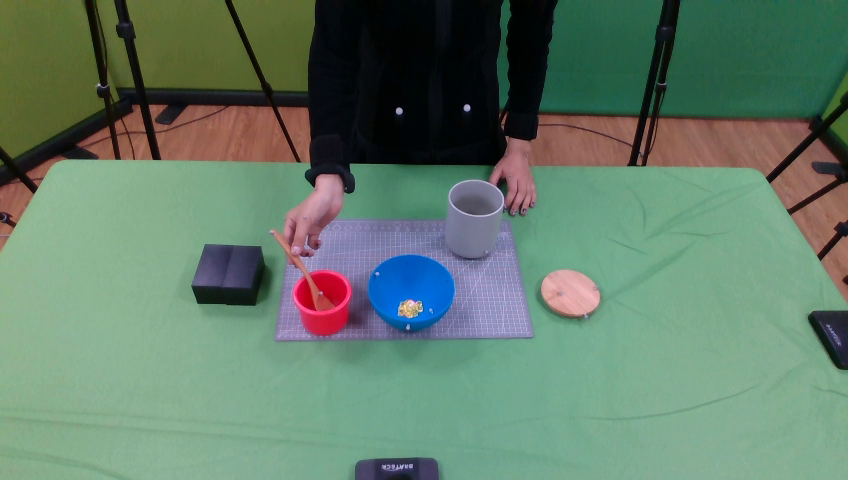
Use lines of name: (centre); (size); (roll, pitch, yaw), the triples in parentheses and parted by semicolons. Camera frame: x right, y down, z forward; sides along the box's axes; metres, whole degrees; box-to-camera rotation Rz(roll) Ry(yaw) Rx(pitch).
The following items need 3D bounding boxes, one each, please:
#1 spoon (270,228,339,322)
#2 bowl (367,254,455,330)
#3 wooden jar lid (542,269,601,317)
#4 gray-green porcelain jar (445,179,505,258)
spoon: (-0.203, 0.060, 1.029); (0.021, 0.194, 0.041); (-20, 17, 31)
bowl: (-0.023, 0.104, 1.053); (0.151, 0.077, 0.150); (2, 46, -2)
wooden jar lid: (0.272, 0.100, 1.121); (0.108, 0.021, 0.107); (3, 47, -3)
gray-green porcelain jar: (0.095, -0.037, 1.162); (0.106, 0.127, 0.105); (2, 46, -2)
